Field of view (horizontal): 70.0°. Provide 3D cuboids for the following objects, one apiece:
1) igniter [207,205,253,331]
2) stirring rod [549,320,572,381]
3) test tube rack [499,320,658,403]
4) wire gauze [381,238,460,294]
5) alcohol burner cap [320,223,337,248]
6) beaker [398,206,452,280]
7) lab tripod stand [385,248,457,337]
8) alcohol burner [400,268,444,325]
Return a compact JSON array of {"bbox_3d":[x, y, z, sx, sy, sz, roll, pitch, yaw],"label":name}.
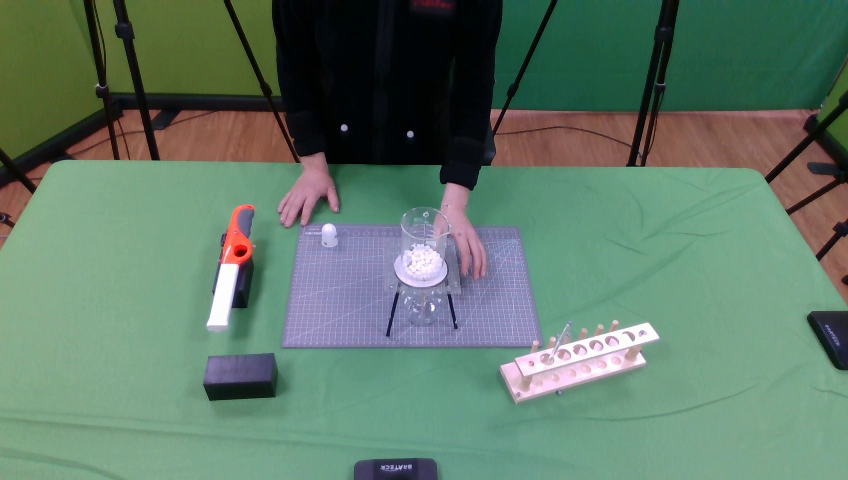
[{"bbox_3d":[-0.339,0.038,1.066,0.057,0.025,0.274,2,48,-6],"label":"igniter"},{"bbox_3d":[0.202,0.168,0.901,0.006,0.177,0.014,-17,54,-11],"label":"stirring rod"},{"bbox_3d":[0.252,0.187,0.994,0.243,0.085,0.066,-12,48,-15],"label":"test tube rack"},{"bbox_3d":[-0.008,0.042,0.985,0.125,0.011,0.120,-1,43,-2],"label":"wire gauze"},{"bbox_3d":[-0.187,-0.011,1.176,0.034,0.048,0.033,2,46,-1],"label":"alcohol burner cap"},{"bbox_3d":[0.000,0.008,0.950,0.084,0.101,0.073,10,45,6],"label":"beaker"},{"bbox_3d":[-0.010,0.087,1.032,0.148,0.132,0.147,1,45,-1],"label":"lab tripod stand"},{"bbox_3d":[-0.003,0.092,1.042,0.078,0.120,0.077,1,46,-1],"label":"alcohol burner"}]
